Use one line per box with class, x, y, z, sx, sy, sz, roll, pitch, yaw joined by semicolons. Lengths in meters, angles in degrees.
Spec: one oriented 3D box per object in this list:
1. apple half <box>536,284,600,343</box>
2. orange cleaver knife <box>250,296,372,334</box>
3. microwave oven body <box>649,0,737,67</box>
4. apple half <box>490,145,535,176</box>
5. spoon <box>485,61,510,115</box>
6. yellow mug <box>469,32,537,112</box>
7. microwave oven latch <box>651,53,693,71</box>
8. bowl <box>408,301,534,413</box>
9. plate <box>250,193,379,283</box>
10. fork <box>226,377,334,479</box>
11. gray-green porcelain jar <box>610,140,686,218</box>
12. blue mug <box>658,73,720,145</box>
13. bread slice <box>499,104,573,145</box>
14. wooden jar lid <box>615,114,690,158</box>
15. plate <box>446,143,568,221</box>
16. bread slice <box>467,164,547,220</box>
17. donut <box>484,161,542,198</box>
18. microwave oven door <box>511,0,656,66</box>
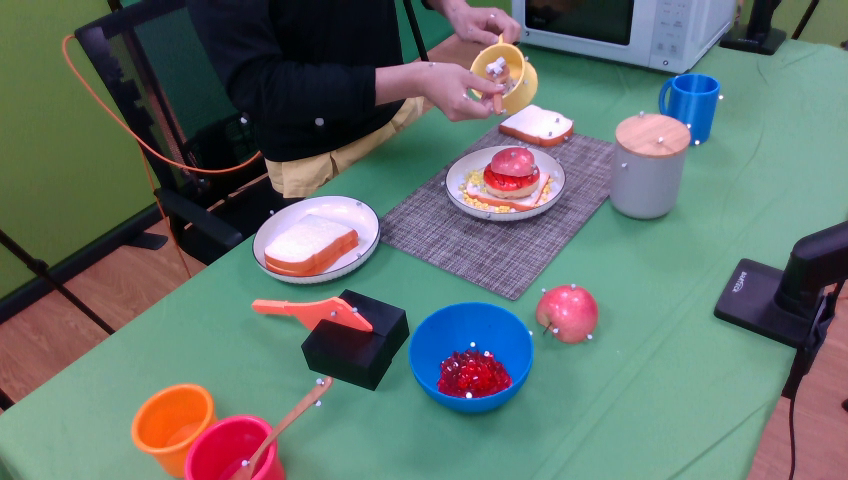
apple half;0.196;0.090;0.815;0.075;0.053;0.080;-22;42;-20
orange cleaver knife;-0.159;0.103;0.828;0.210;0.078;0.012;-4;43;39
microwave oven body;0.475;-0.602;1.411;0.438;0.261;0.327;23;50;32
apple half;0.146;-0.138;0.994;0.081;0.033;0.081;2;38;-1
spoon;0.114;-0.240;0.944;0.041;0.022;0.193;0;33;7
yellow mug;0.135;-0.290;1.023;0.099;0.064;0.130;-2;78;28
microwave oven latch;0.532;-0.386;1.301;0.078;0.029;0.030;27;52;34
bowl;0.059;0.156;0.739;0.151;0.077;0.150;-4;40;4
plate;-0.174;-0.001;0.984;0.209;0.038;0.208;-4;41;4
fork;-0.163;0.216;0.647;0.207;0.019;0.028;-49;42;16
gray-green porcelain jar;0.354;-0.106;0.964;0.106;0.127;0.105;-4;41;4
blue mug;0.483;-0.250;1.127;0.082;0.106;0.115;-26;44;-19
bread slice;0.231;-0.231;1.205;0.105;0.019;0.130;-37;47;-28
wooden jar lid;0.347;-0.155;0.923;0.108;0.021;0.108;-3;44;4
plate;0.142;-0.097;1.045;0.207;0.039;0.206;-4;40;4
bread slice;0.143;-0.088;1.051;0.134;0.018;0.107;14;49;12
donut;0.149;-0.109;1.016;0.099;0.048;0.098;-4;40;4
microwave oven door;0.350;-0.539;1.349;0.353;0.245;0.039;24;50;31
